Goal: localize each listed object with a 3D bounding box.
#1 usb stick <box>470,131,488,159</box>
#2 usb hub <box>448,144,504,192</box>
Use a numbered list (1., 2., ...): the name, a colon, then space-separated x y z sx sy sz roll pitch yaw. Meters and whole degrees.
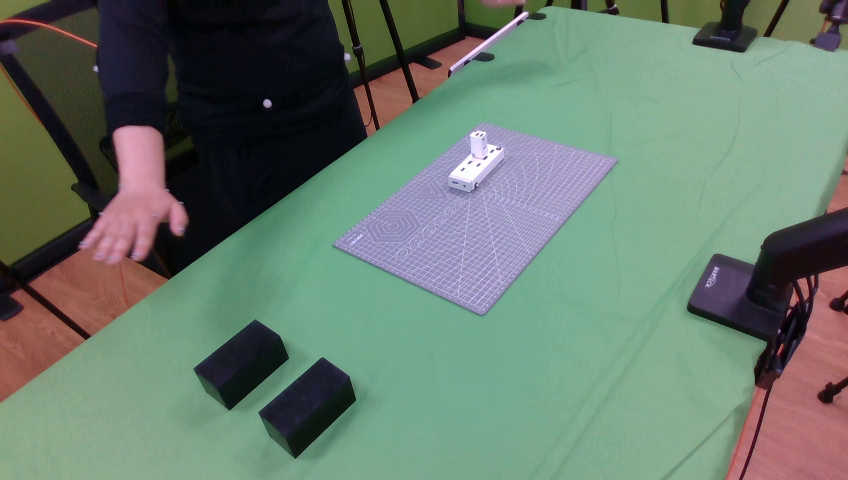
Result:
1. usb stick: 0.100 -0.166 1.100 0.027 0.059 0.021 18 46 25
2. usb hub: 0.097 -0.133 1.105 0.049 0.025 0.125 20 48 28
